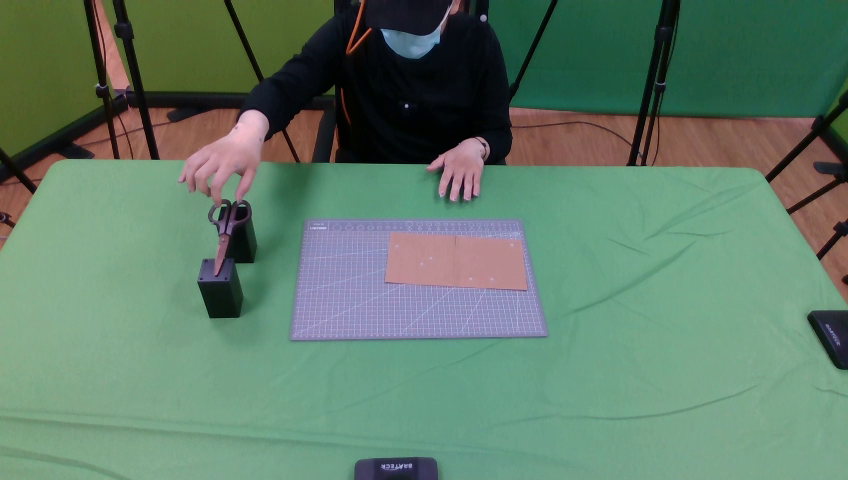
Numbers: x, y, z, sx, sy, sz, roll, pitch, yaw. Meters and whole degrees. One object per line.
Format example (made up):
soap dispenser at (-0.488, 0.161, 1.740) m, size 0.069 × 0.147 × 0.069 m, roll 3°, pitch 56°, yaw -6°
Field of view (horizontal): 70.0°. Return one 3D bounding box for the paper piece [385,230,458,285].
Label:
paper piece at (-0.002, 0.031, 1.169) m, size 0.136 × 0.004 × 0.134 m, roll 3°, pitch 48°, yaw 1°

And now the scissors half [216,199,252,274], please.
scissors half at (-0.332, -0.009, 1.049) m, size 0.040 × 0.013 × 0.174 m, roll 6°, pitch 47°, yaw 1°

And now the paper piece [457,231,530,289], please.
paper piece at (0.132, 0.038, 1.171) m, size 0.138 × 0.009 × 0.135 m, roll 4°, pitch 50°, yaw -1°

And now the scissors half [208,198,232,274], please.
scissors half at (-0.352, -0.009, 1.046) m, size 0.040 × 0.013 × 0.174 m, roll -3°, pitch 48°, yaw -15°
